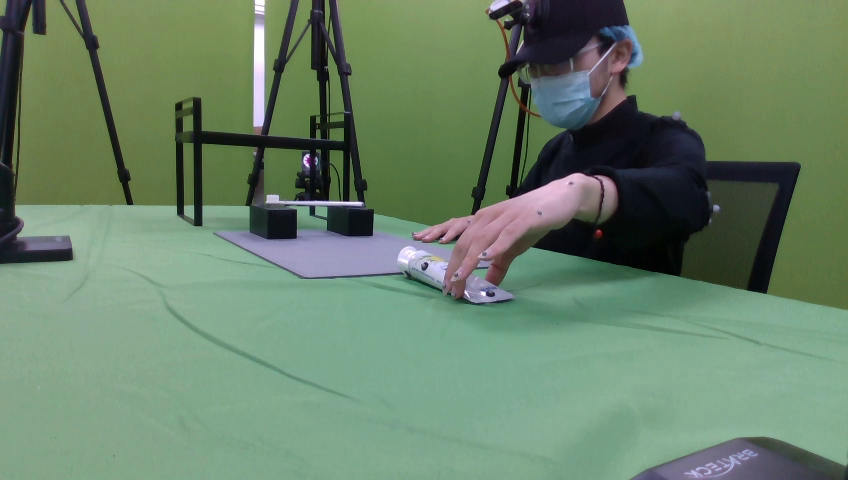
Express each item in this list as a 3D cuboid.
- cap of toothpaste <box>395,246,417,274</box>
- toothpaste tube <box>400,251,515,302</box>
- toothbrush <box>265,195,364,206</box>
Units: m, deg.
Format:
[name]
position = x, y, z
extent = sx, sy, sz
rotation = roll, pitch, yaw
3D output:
[cap of toothpaste]
position = -0.018, 0.025, 0.738
extent = 0.037, 0.037, 0.011
rotation = -4, 11, -41
[toothpaste tube]
position = 0.026, 0.042, 0.673
extent = 0.055, 0.034, 0.164
rotation = -10, 17, -33
[toothbrush]
position = -0.194, -0.069, 1.089
extent = 0.183, 0.016, 0.014
rotation = 0, -6, -27
